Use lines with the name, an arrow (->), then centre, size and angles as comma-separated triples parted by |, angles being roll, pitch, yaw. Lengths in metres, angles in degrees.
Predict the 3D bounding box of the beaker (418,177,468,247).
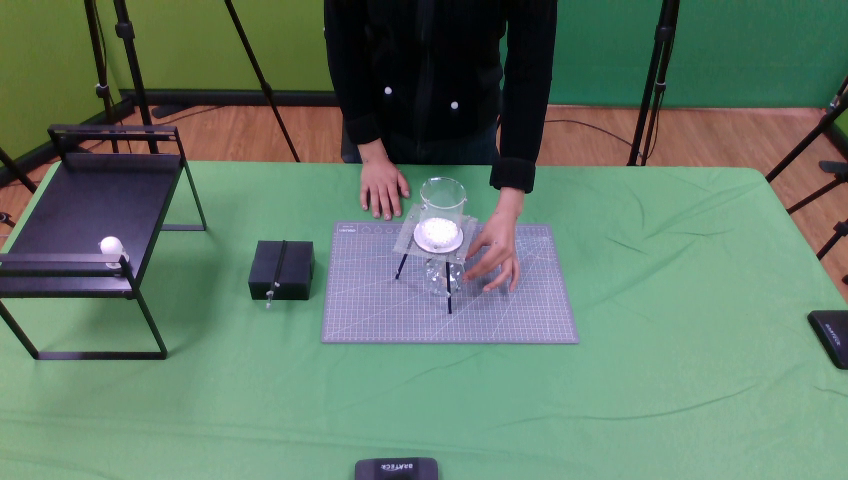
beaker -> 0.026, -0.045, 1.004 | 0.074, 0.101, 0.083 | -20, 51, -23

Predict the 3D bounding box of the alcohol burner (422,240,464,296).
alcohol burner -> 0.035, 0.044, 1.091 | 0.078, 0.119, 0.077 | 3, 44, -3

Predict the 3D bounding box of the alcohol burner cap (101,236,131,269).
alcohol burner cap -> -0.452, 0.016, 0.883 | 0.034, 0.048, 0.033 | 2, 47, -1

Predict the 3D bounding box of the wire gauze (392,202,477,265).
wire gauze -> 0.021, -0.011, 1.038 | 0.121, 0.011, 0.124 | 13, 49, 8

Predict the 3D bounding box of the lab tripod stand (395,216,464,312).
lab tripod stand -> 0.023, 0.037, 1.084 | 0.148, 0.132, 0.147 | 4, 46, -4

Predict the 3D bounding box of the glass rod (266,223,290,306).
glass rod -> -0.260, 0.039, 1.083 | 0.008, 0.008, 0.198 | 3, 46, -1
